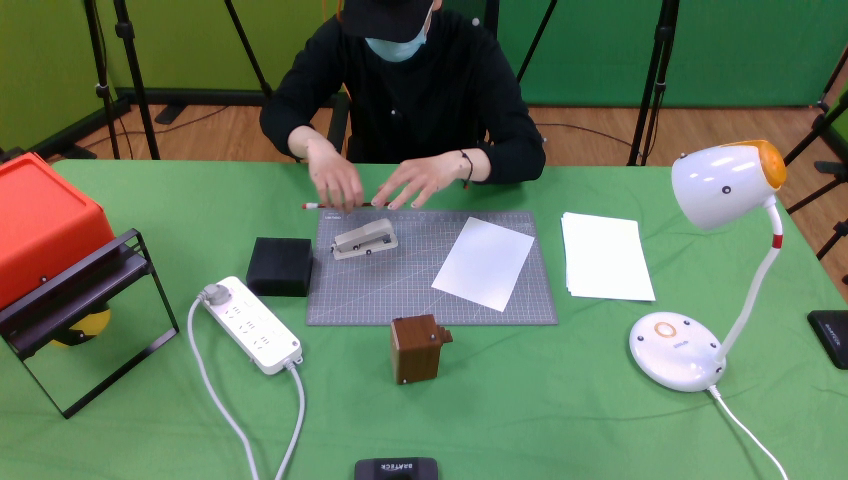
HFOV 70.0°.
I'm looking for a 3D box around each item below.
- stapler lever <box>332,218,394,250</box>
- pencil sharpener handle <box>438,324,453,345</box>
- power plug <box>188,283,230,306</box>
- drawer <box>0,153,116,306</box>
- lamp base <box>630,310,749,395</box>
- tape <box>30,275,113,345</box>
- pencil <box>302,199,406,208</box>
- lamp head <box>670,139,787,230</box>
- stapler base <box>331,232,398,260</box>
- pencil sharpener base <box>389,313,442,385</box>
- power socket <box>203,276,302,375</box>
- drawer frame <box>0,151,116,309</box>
[{"bbox_3d":[-0.116,-0.012,1.162,0.118,0.040,0.026,-13,47,-14],"label":"stapler lever"},{"bbox_3d":[0.036,0.155,0.976,0.031,0.068,0.036,-8,70,-11],"label":"pencil sharpener handle"},{"bbox_3d":[-0.368,0.099,1.037,0.072,0.053,0.035,-24,52,-26],"label":"power plug"},{"bbox_3d":[-0.601,-0.015,0.880,0.193,0.073,0.211,32,53,23],"label":"drawer"},{"bbox_3d":[0.447,0.142,0.984,0.161,0.181,0.178,-24,55,-24],"label":"lamp base"},{"bbox_3d":[-0.594,0.117,1.021,0.117,0.053,0.116,2,45,-2],"label":"tape"},{"bbox_3d":[-0.130,-0.068,1.128,0.194,0.012,0.012,-3,46,0],"label":"pencil"},{"bbox_3d":[0.415,-0.079,0.812,0.113,0.123,0.112,13,70,-37],"label":"lamp head"},{"bbox_3d":[-0.116,0.004,1.181,0.131,0.024,0.041,-13,47,-14],"label":"stapler base"},{"bbox_3d":[-0.013,0.175,0.971,0.077,0.107,0.061,-8,47,-11],"label":"pencil sharpener base"},{"bbox_3d":[-0.297,0.141,1.034,0.072,0.033,0.225,-34,58,-30],"label":"power socket"},{"bbox_3d":[-0.604,-0.013,0.875,0.201,0.083,0.213,31,52,23],"label":"drawer frame"}]
